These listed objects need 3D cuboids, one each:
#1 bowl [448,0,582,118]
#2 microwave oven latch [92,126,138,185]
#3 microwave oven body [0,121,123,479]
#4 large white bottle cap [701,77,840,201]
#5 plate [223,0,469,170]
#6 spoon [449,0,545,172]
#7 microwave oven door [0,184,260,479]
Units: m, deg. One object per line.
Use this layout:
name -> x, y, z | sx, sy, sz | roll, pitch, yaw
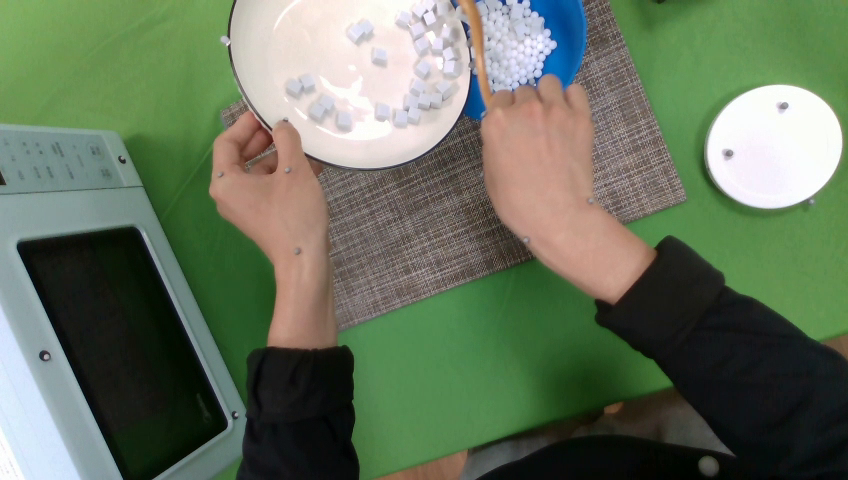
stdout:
bowl -> 0.079, -0.193, 0.589 | 0.151, 0.077, 0.151 | 3, 100, 17
microwave oven latch -> -0.389, -0.102, 0.752 | 0.030, 0.029, 0.079 | -24, 92, 18
microwave oven body -> -0.471, 0.131, 0.712 | 0.326, 0.260, 0.441 | -25, 91, 18
large white bottle cap -> 0.322, -0.093, 0.567 | 0.114, 0.018, 0.115 | 2, 99, 16
plate -> -0.064, -0.159, 0.525 | 0.210, 0.038, 0.208 | 3, 82, -19
spoon -> 0.055, -0.138, 0.500 | 0.021, 0.042, 0.192 | -21, 75, 4
microwave oven door -> -0.329, 0.111, 0.661 | 0.039, 0.244, 0.355 | -25, 90, 19
